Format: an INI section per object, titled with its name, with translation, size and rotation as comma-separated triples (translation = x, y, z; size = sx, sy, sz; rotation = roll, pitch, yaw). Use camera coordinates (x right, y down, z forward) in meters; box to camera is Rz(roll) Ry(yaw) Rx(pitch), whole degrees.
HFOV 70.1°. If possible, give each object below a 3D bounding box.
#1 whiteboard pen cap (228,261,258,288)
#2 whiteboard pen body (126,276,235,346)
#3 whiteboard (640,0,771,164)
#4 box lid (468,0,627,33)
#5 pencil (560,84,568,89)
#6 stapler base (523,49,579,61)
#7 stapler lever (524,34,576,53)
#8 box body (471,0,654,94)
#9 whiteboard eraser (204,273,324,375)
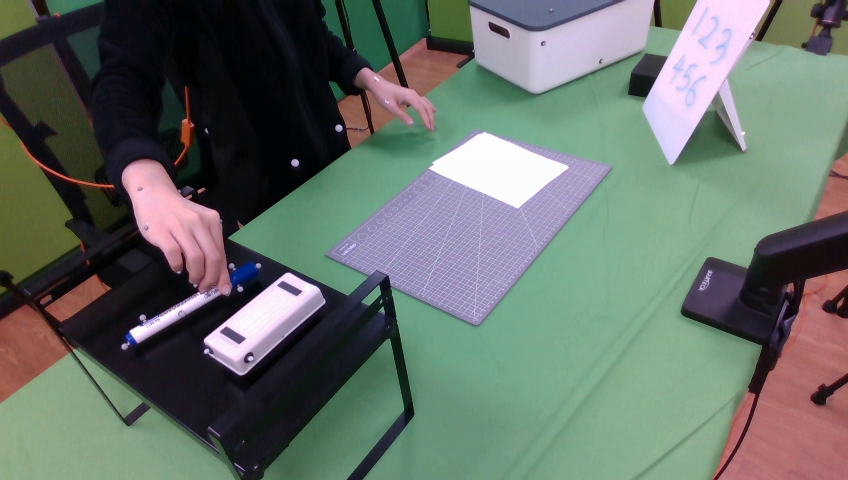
[whiteboard pen cap]
translation = -0.205, 0.040, 0.677
size = 0.033, 0.018, 0.018
rotation = -34, 47, -22
[whiteboard pen body]
translation = -0.250, 0.069, 0.650
size = 0.141, 0.017, 0.017
rotation = -33, 47, -27
[whiteboard]
translation = 0.543, -0.299, 1.076
size = 0.144, 0.305, 0.216
rotation = 12, 40, -7
[box lid]
translation = 0.312, -0.554, 1.358
size = 0.373, 0.015, 0.261
rotation = -26, 44, -20
[pencil]
translation = 0.248, -0.394, 1.398
size = 0.193, 0.012, 0.012
rotation = 34, 54, 23
[stapler base]
translation = 0.300, -0.441, 1.434
size = 0.130, 0.024, 0.041
rotation = 3, 25, 18
[stapler lever]
translation = 0.297, -0.462, 1.423
size = 0.117, 0.040, 0.027
rotation = 4, 25, 17
[box body]
translation = 0.319, -0.498, 1.405
size = 0.365, 0.161, 0.252
rotation = -26, 43, -21
[whiteboard eraser]
translation = -0.157, 0.084, 0.605
size = 0.055, 0.042, 0.113
rotation = 24, 49, 30
